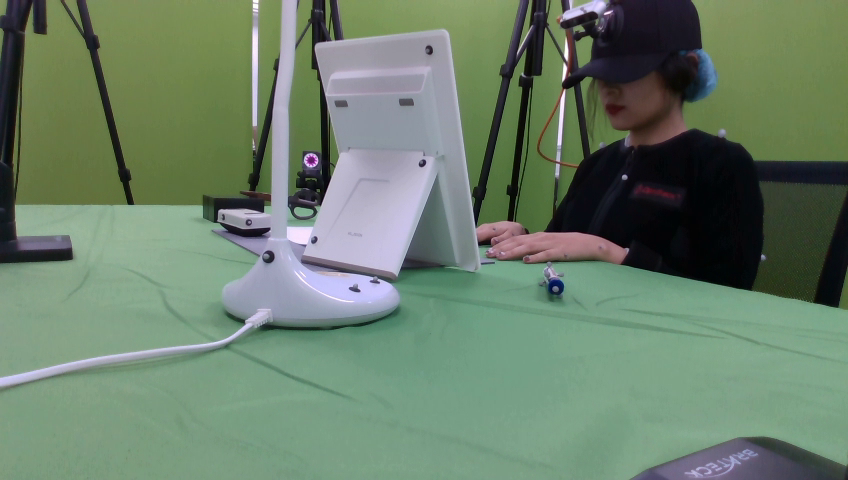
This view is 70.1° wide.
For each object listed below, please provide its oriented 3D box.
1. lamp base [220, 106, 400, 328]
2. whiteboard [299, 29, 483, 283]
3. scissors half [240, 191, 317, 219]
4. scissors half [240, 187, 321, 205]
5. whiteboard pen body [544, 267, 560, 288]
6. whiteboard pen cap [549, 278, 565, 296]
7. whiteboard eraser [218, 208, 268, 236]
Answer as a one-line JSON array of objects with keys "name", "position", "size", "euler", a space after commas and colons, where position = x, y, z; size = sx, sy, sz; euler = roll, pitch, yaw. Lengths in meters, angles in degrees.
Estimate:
[{"name": "lamp base", "position": [-0.101, -0.023, 0.531], "size": [0.160, 0.180, 0.179], "euler": [4, 10, 10]}, {"name": "whiteboard", "position": [-0.074, -0.082, 0.742], "size": [0.216, 0.305, 0.144], "euler": [9, 29, 38]}, {"name": "scissors half", "position": [-0.317, -0.079, 1.326], "size": [0.176, 0.040, 0.013], "euler": [18, 15, -31]}, {"name": "scissors half", "position": [-0.311, -0.097, 1.319], "size": [0.176, 0.040, 0.012], "euler": [-1, 30, -25]}, {"name": "whiteboard pen body", "position": [0.149, 0.046, 0.697], "size": [0.017, 0.017, 0.141], "euler": [4, 4, 9]}, {"name": "whiteboard pen cap", "position": [0.140, 0.050, 0.639], "size": [0.018, 0.018, 0.033], "euler": [4, 2, 9]}, {"name": "whiteboard eraser", "position": [-0.309, -0.031, 1.044], "size": [0.056, 0.042, 0.112], "euler": [-2, 9, -40]}]
